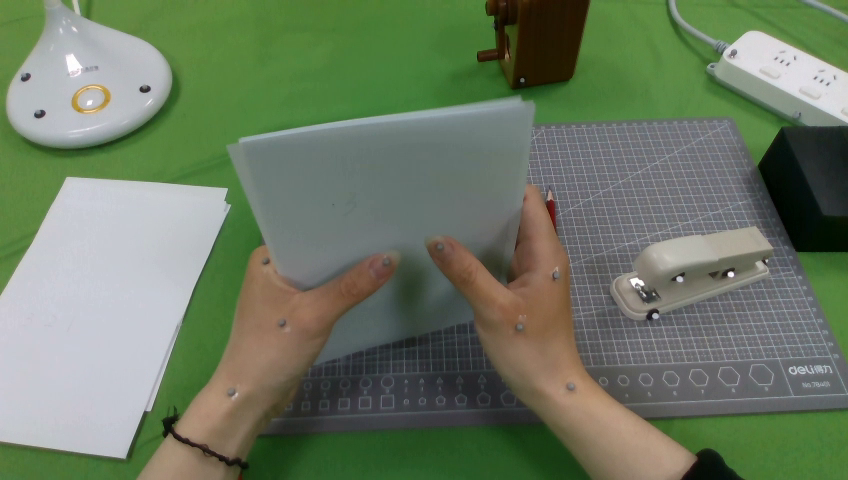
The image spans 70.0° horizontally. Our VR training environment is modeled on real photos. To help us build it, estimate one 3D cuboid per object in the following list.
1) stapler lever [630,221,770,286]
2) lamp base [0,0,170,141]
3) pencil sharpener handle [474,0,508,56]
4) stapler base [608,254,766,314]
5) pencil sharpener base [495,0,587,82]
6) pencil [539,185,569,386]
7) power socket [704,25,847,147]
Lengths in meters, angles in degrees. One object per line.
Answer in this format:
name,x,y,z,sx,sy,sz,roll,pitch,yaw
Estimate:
stapler lever,0.214,0.006,0.465,0.118,0.040,0.026,-16,57,-12
lamp base,-0.349,-0.212,0.557,0.161,0.182,0.177,-29,57,-18
pencil sharpener handle,0.062,-0.213,0.585,0.031,0.068,0.035,-12,33,-7
stapler base,0.213,0.022,0.484,0.131,0.024,0.041,-16,58,-12
pencil sharpener base,0.111,-0.220,0.606,0.077,0.108,0.060,-12,56,-7
pencil,0.103,0.026,0.492,0.012,0.012,0.192,2,53,2
power socket,0.393,-0.144,0.597,0.072,0.033,0.225,-38,63,-24
